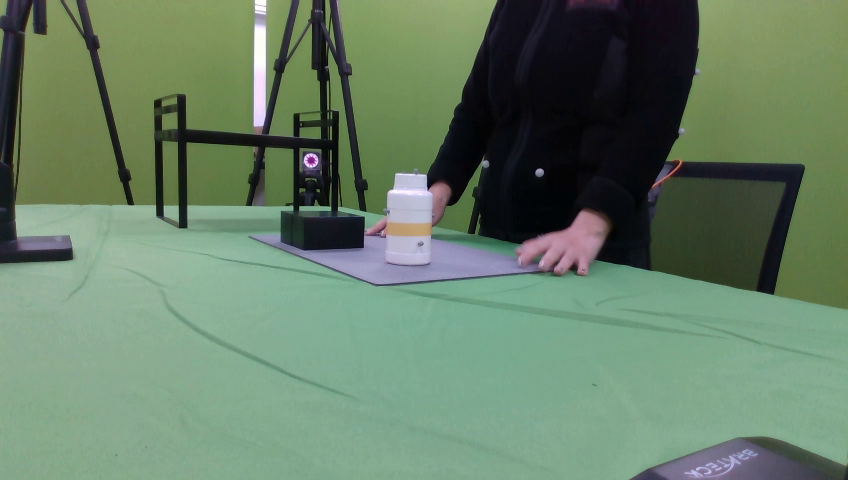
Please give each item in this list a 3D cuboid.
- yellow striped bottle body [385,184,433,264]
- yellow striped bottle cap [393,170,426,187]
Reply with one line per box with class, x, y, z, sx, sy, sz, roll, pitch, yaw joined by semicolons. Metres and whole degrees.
yellow striped bottle body;-0.020;-0.031;0.815;0.063;0.120;0.063;2;7;0
yellow striped bottle cap;-0.019;-0.082;0.808;0.044;0.018;0.044;5;9;-1
